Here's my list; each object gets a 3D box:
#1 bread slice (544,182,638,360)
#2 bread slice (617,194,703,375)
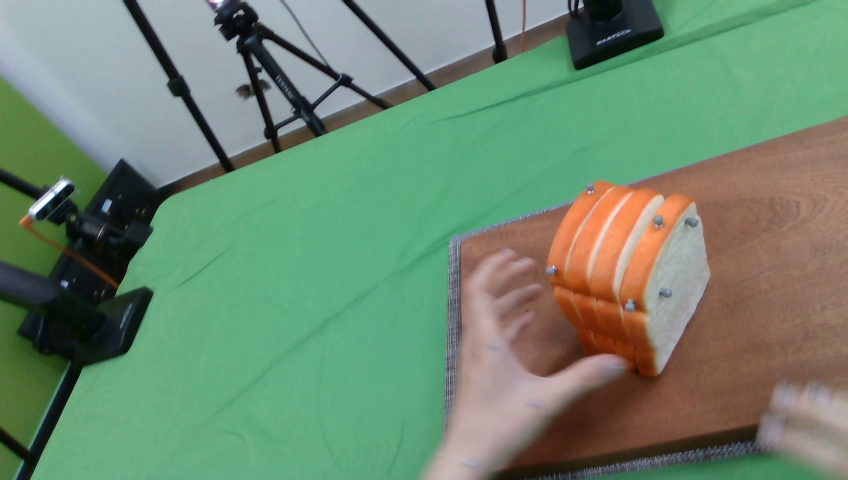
[{"bbox_3d":[0.142,0.020,0.487,0.018,0.136,0.106,16,60,43],"label":"bread slice"},{"bbox_3d":[0.179,0.033,0.451,0.019,0.133,0.104,20,67,37],"label":"bread slice"}]
